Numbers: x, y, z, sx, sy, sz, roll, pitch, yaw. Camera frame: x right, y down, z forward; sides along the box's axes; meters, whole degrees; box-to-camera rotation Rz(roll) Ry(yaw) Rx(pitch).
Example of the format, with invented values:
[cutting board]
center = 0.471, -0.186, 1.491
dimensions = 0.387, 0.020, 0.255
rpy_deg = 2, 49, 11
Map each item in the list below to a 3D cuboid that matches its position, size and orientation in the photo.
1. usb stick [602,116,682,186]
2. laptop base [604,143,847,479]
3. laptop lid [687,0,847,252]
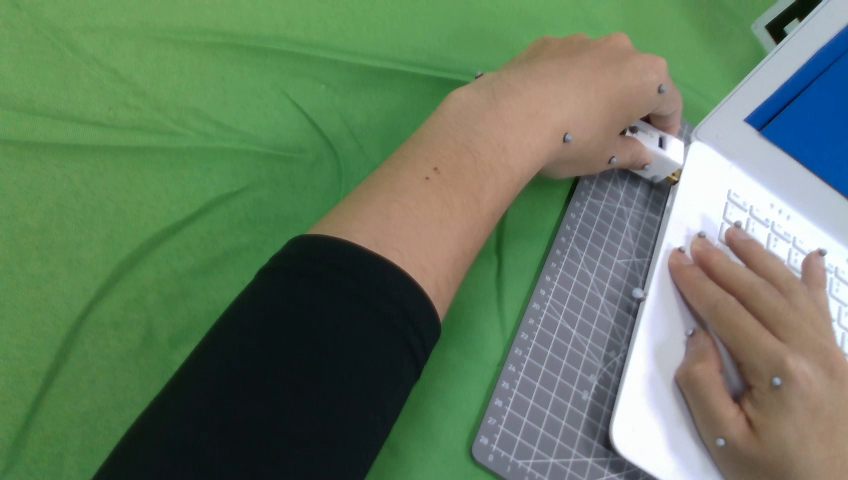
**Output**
[usb stick]
center = 0.144, -0.053, 0.387
dimensions = 0.059, 0.027, 0.021
rpy_deg = 26, 53, -19
[laptop base]
center = 0.279, 0.112, 0.389
dimensions = 0.355, 0.023, 0.234
rpy_deg = 33, 60, -8
[laptop lid]
center = 0.384, -0.050, 0.383
dimensions = 0.358, 0.242, 0.013
rpy_deg = 31, 36, -7
